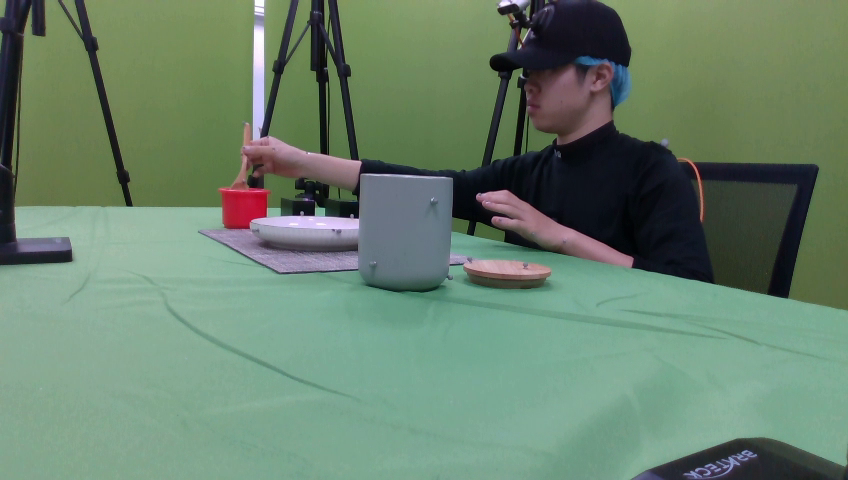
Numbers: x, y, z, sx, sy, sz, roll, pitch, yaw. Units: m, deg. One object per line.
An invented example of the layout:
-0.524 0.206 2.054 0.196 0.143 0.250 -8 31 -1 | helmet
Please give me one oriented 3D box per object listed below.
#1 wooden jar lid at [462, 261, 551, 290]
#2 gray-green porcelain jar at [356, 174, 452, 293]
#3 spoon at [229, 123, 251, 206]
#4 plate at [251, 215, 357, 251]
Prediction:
0.100 0.043 0.742 0.108 0.020 0.108 2 6 0 | wooden jar lid
-0.023 -0.009 0.682 0.106 0.126 0.106 2 7 0 | gray-green porcelain jar
-0.355 -0.152 1.196 0.042 0.193 0.021 16 -27 -31 | spoon
-0.170 -0.012 0.971 0.208 0.039 0.207 2 7 0 | plate
